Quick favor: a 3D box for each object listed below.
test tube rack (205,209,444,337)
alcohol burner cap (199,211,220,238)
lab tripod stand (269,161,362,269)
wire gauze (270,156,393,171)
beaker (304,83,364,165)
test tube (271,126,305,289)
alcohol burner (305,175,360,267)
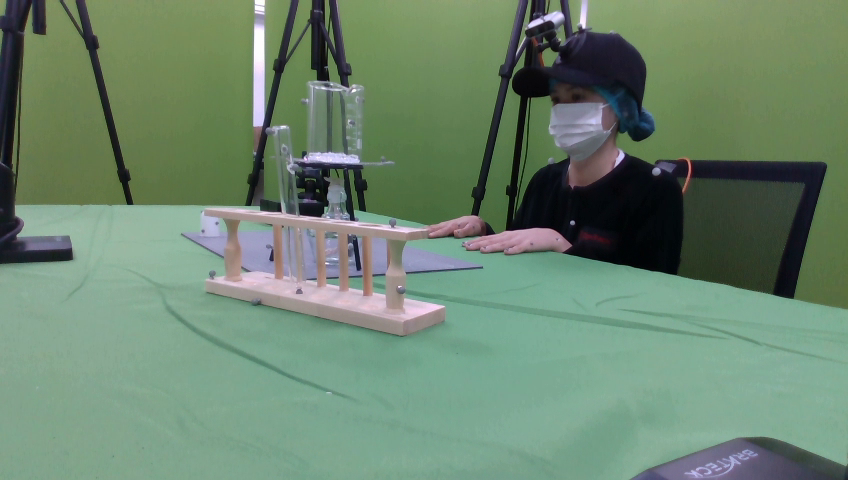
[{"bbox_3d":[-0.100,0.021,0.565,0.241,0.085,0.067,7,9,32],"label":"test tube rack"},{"bbox_3d":[-0.356,-0.027,1.002,0.034,0.048,0.034,3,7,0],"label":"alcohol burner cap"},{"bbox_3d":[-0.125,-0.036,0.794,0.148,0.131,0.148,5,7,0],"label":"lab tripod stand"},{"bbox_3d":[-0.122,-0.100,0.786,0.122,0.011,0.124,-5,14,-38],"label":"wire gauze"},{"bbox_3d":[-0.115,-0.148,0.779,0.074,0.100,0.083,-2,10,-30],"label":"beaker"},{"bbox_3d":[-0.124,-0.028,0.554,0.017,0.150,0.017,-5,7,1],"label":"test tube"},{"bbox_3d":[-0.117,-0.025,0.793,0.078,0.119,0.078,1,8,0],"label":"alcohol burner"}]
